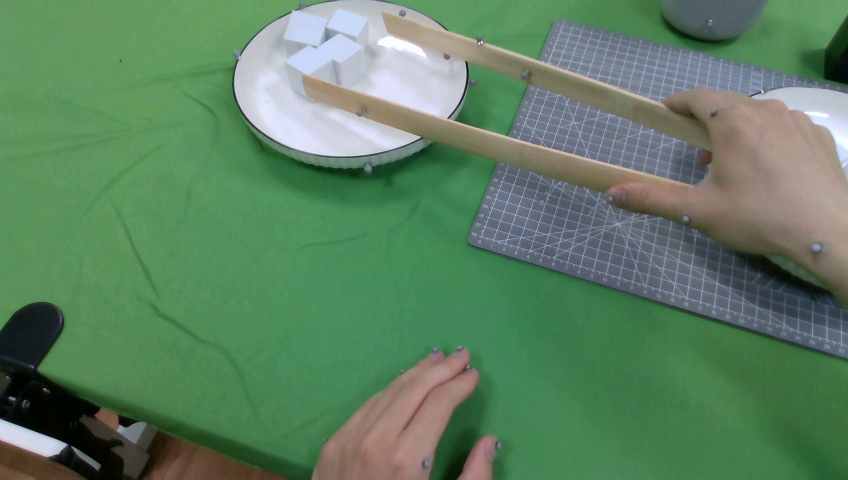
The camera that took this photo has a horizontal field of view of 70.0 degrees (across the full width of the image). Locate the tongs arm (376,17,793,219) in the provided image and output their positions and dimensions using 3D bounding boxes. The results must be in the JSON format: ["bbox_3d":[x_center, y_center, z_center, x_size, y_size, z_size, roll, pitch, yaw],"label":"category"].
[{"bbox_3d":[0.092,-0.112,0.482,0.381,0.027,0.050,27,59,29],"label":"tongs arm"}]

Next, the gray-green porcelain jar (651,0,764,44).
[{"bbox_3d":[0.289,-0.268,0.594,0.106,0.127,0.105,0,55,0],"label":"gray-green porcelain jar"}]

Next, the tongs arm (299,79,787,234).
[{"bbox_3d":[0.056,-0.072,0.456,0.385,0.028,0.028,21,53,25],"label":"tongs arm"}]

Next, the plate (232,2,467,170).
[{"bbox_3d":[-0.065,-0.139,0.553,0.208,0.039,0.205,1,56,-1],"label":"plate"}]

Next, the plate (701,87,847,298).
[{"bbox_3d":[0.327,-0.039,0.490,0.209,0.038,0.207,1,56,0],"label":"plate"}]
